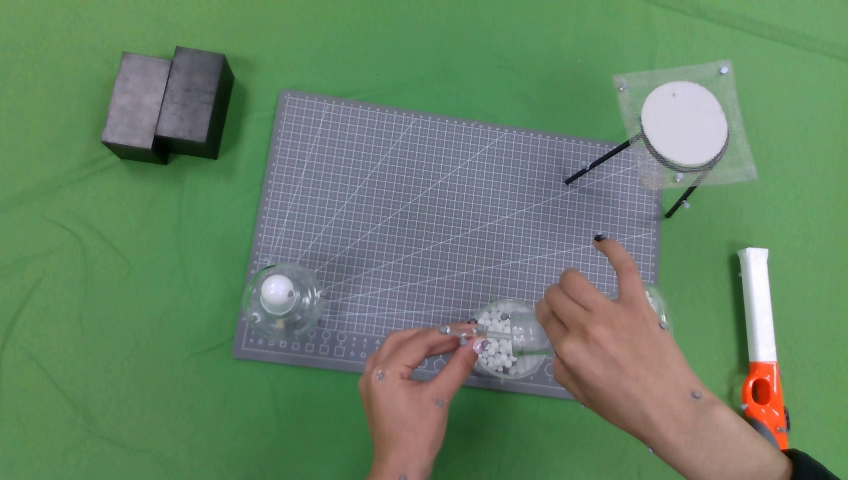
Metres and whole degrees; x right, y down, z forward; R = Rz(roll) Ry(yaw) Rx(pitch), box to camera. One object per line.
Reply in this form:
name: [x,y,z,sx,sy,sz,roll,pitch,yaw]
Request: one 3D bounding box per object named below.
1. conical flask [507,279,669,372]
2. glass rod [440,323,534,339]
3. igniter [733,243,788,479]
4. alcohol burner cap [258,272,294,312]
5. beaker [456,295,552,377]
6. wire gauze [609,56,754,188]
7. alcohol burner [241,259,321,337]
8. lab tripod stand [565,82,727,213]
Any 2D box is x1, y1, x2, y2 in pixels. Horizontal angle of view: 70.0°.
conical flask: [0.130,0.072,0.495,0.122,0.075,0.075,-4,79,5]
glass rod: [0.060,0.079,0.515,0.008,0.201,0.008,-5,78,28]
igniter: [0.371,0.140,0.671,0.057,0.025,0.275,4,79,-16]
alcohol burner cap: [-0.134,0.044,0.549,0.034,0.048,0.033,4,71,-12]
beaker: [0.075,0.097,0.607,0.084,0.100,0.073,-10,80,-8]
wire gauze: [0.250,-0.113,0.582,0.125,0.011,0.121,-8,82,-8]
alcohol burner: [-0.139,0.053,0.584,0.078,0.119,0.077,2,77,-8]
lab tripod stand: [0.240,-0.097,0.647,0.149,0.131,0.148,1,80,-7]
